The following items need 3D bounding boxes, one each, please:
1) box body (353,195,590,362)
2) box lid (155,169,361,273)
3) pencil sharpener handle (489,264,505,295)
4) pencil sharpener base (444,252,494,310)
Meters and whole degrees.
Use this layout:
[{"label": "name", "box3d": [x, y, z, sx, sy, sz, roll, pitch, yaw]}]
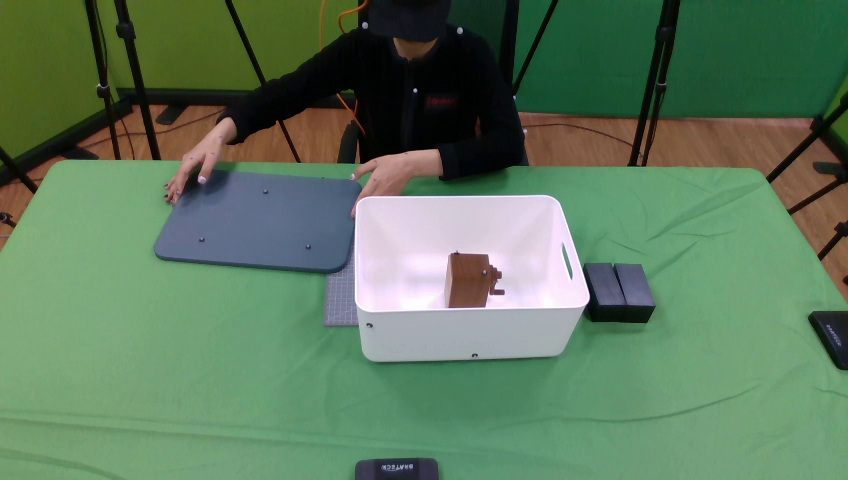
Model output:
[{"label": "box body", "box3d": [0.065, 0.066, 1.040, 0.364, 0.161, 0.252, -1, 46, -5]}, {"label": "box lid", "box3d": [-0.321, -0.045, 1.224, 0.371, 0.015, 0.261, 4, 46, 1]}, {"label": "pencil sharpener handle", "box3d": [0.129, 0.071, 1.052, 0.031, 0.068, 0.036, 1, 43, -4]}, {"label": "pencil sharpener base", "box3d": [0.078, 0.078, 1.058, 0.077, 0.107, 0.061, 1, 45, -4]}]
